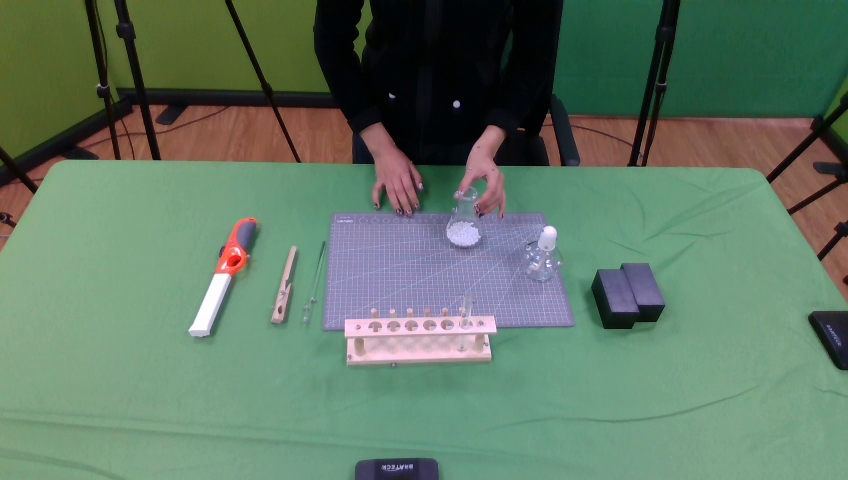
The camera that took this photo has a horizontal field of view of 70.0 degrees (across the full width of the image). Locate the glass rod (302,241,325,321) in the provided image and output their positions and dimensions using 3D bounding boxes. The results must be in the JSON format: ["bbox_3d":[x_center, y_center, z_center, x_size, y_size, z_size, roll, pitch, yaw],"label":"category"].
[{"bbox_3d":[-0.204,0.071,1.124,0.008,0.008,0.198,4,44,1],"label":"glass rod"}]

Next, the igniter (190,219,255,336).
[{"bbox_3d":[-0.365,0.058,1.110,0.057,0.025,0.275,-1,45,8],"label":"igniter"}]

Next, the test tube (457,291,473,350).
[{"bbox_3d":[0.064,0.132,0.965,0.017,0.151,0.017,1,48,-1],"label":"test tube"}]

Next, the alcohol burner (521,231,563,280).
[{"bbox_3d":[0.224,0.020,1.131,0.078,0.119,0.077,4,46,-4],"label":"alcohol burner"}]

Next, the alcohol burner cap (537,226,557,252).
[{"bbox_3d":[0.226,-0.004,1.104,0.034,0.048,0.033,0,50,1],"label":"alcohol burner cap"}]

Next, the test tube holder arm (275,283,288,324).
[{"bbox_3d":[-0.254,0.110,1.077,0.010,0.015,0.087,31,37,-29],"label":"test tube holder arm"}]

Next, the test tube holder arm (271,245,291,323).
[{"bbox_3d":[-0.260,0.075,1.106,0.013,0.015,0.177,29,38,-30],"label":"test tube holder arm"}]

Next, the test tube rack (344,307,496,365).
[{"bbox_3d":[-0.009,0.154,1.007,0.242,0.085,0.066,-1,46,-5],"label":"test tube rack"}]

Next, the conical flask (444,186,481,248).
[{"bbox_3d":[0.078,-0.049,1.170,0.075,0.122,0.075,1,48,-1],"label":"conical flask"}]
